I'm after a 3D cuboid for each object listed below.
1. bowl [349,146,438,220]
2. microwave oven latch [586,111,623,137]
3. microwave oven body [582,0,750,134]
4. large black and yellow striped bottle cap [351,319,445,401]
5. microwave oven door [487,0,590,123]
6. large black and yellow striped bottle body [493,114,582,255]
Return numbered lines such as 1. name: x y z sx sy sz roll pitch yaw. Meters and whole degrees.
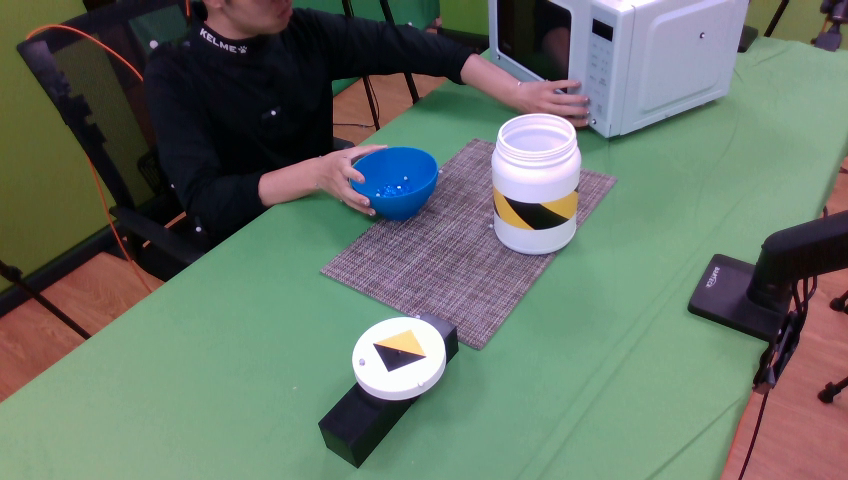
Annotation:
1. bowl: -0.047 -0.087 1.029 0.151 0.077 0.150 -4 40 4
2. microwave oven latch: 0.339 -0.223 1.142 0.030 0.029 0.078 -19 41 -12
3. microwave oven body: 0.382 -0.445 1.246 0.327 0.261 0.437 -22 42 -16
4. large black and yellow striped bottle cap: -0.031 0.143 0.735 0.115 0.019 0.114 -3 40 3
5. microwave oven door: 0.232 -0.420 1.231 0.039 0.245 0.352 -22 43 -16
6. large black and yellow striped bottle body: 0.170 -0.084 0.913 0.131 0.185 0.130 -4 41 4
